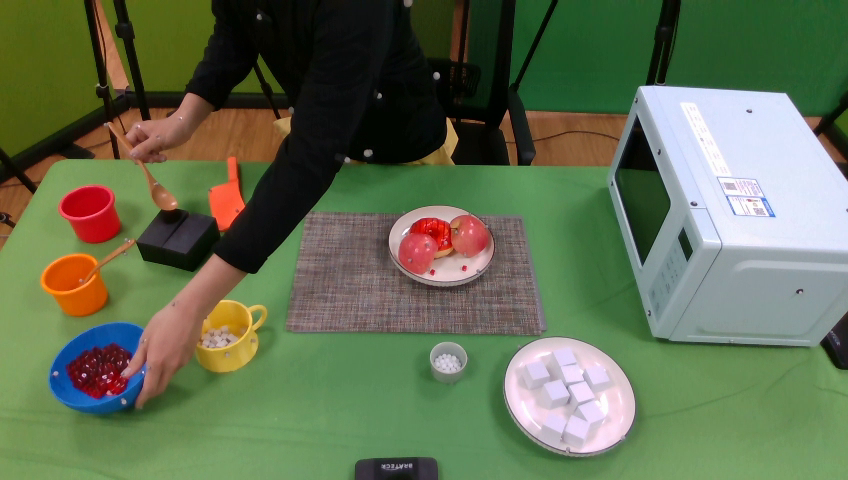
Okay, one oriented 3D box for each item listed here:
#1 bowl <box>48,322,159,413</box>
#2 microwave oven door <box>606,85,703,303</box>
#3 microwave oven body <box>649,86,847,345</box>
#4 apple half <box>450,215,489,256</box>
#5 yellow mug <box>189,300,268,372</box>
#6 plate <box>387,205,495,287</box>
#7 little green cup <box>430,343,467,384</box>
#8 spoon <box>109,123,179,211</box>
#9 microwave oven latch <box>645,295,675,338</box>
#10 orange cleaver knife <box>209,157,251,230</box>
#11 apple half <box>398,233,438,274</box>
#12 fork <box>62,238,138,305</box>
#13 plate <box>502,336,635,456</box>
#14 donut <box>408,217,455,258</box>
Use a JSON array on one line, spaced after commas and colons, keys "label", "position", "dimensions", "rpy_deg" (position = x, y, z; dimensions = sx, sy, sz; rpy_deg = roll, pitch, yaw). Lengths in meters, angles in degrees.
[{"label": "bowl", "position": [-0.474, 0.207, 0.923], "dimensions": [0.151, 0.077, 0.150], "rpy_deg": [0, 43, 0]}, {"label": "microwave oven door", "position": [0.423, -0.094, 1.140], "dimensions": [0.039, 0.245, 0.353], "rpy_deg": [2, 46, -1]}, {"label": "microwave oven body", "position": [0.568, -0.053, 1.118], "dimensions": [0.326, 0.261, 0.439], "rpy_deg": [2, 45, -1]}, {"label": "apple half", "position": [0.092, -0.013, 1.158], "dimensions": [0.075, 0.053, 0.080], "rpy_deg": [34, 39, -28]}, {"label": "yellow mug", "position": [-0.316, 0.149, 1.002], "dimensions": [0.131, 0.064, 0.099], "rpy_deg": [-33, 56, -31]}, {"label": "plate", "position": [0.033, 0.014, 1.171], "dimensions": [0.209, 0.038, 0.208], "rpy_deg": [2, 46, -2]}, {"label": "little green cup", "position": [0.039, 0.203, 0.993], "dimensions": [0.061, 0.039, 0.061], "rpy_deg": [2, 46, -2]}, {"label": "spoon", "position": [-0.521, -0.136, 1.126], "dimensions": [0.021, 0.194, 0.041], "rpy_deg": [-20, 15, 42]}, {"label": "microwave oven latch", "position": [0.412, 0.134, 1.061], "dimensions": [0.030, 0.029, 0.078], "rpy_deg": [3, 45, 0]}, {"label": "orange cleaver knife", "position": [-0.409, -0.099, 1.265], "dimensions": [0.077, 0.012, 0.210], "rpy_deg": [-13, 50, -11]}, {"label": "apple half", "position": [-0.016, 0.022, 1.123], "dimensions": [0.081, 0.033, 0.081], "rpy_deg": [-2, 83, 14]}, {"label": "fork", "position": [-0.547, 0.053, 1.018], "dimensions": [0.207, 0.019, 0.028], "rpy_deg": [-36, 41, 23]}, {"label": "plate", "position": [0.225, 0.248, 0.963], "dimensions": [0.208, 0.039, 0.206], "rpy_deg": [2, 46, -2]}, {"label": "donut", "position": [0.019, -0.006, 1.174], "dimensions": [0.099, 0.048, 0.098], "rpy_deg": [4, 42, -3]}]
